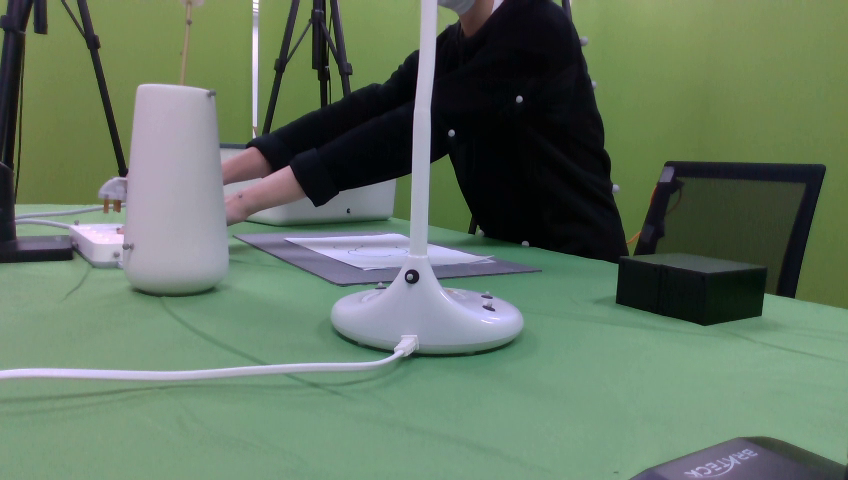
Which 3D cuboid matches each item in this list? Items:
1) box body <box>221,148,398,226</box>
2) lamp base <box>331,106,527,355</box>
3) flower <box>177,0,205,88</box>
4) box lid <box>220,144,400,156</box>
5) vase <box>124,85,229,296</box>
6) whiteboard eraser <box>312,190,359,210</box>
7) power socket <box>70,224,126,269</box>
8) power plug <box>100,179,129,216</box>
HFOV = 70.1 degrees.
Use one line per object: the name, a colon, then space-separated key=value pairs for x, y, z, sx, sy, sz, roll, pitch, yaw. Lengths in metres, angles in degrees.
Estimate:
box body: x=-0.264 y=-0.129 z=1.380 sx=0.253 sy=0.160 sz=0.366 roll=8 pitch=9 yaw=39
lamp base: x=0.006 y=-0.012 z=0.478 sx=0.161 sy=0.180 sz=0.179 roll=2 pitch=10 yaw=2
flower: x=-0.243 y=-0.131 z=0.609 sx=0.044 sy=0.361 sz=0.038 roll=-5 pitch=-12 yaw=12
box lid: x=-0.263 y=-0.202 z=1.369 sx=0.262 sy=0.015 sz=0.373 roll=9 pitch=10 yaw=39
vase: x=-0.244 y=-0.047 z=0.598 sx=0.098 sy=0.200 sz=0.098 roll=3 pitch=8 yaw=0
whiteboard eraser: x=-0.223 y=-0.100 z=1.516 sx=0.112 sy=0.042 sz=0.056 roll=8 pitch=17 yaw=31
power socket: x=-0.409 y=0.004 z=0.792 sx=0.072 sy=0.032 sz=0.225 roll=-3 pitch=8 yaw=-37
power plug: x=-0.414 y=-0.059 z=0.849 sx=0.073 sy=0.052 sz=0.035 roll=3 pitch=5 yaw=-31
